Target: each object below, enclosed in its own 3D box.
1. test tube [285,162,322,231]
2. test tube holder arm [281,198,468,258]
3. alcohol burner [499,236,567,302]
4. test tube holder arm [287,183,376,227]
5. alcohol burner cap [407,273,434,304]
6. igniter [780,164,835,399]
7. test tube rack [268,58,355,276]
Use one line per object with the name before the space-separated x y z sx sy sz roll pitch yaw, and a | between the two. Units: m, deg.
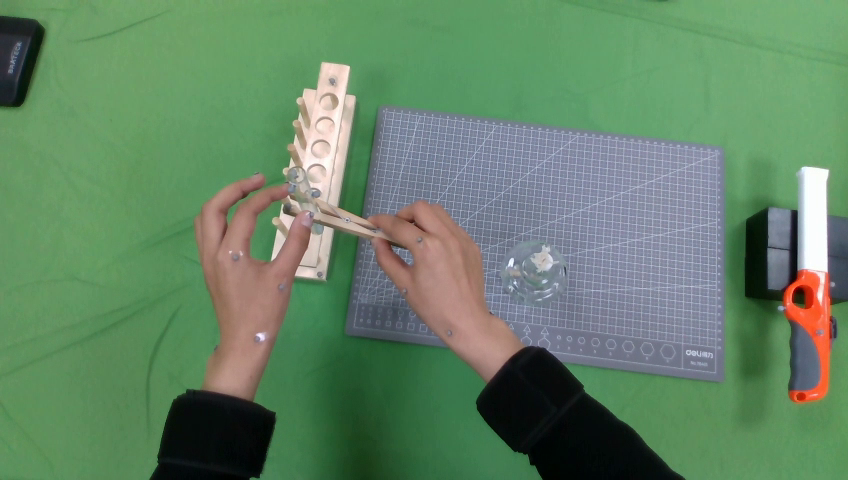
test tube | -0.108 -0.036 0.558 0.017 0.151 0.017 1 74 -3
test tube holder arm | -0.045 -0.010 0.566 0.178 0.015 0.013 16 71 -3
alcohol burner | 0.125 0.029 0.680 0.078 0.119 0.077 0 77 -1
test tube holder arm | -0.086 -0.030 0.566 0.088 0.015 0.010 25 70 0
alcohol burner cap | -0.004 0.054 0.706 0.034 0.048 0.033 1 75 -2
igniter | 0.437 0.044 0.690 0.057 0.025 0.275 9 75 6
test tube rack | -0.136 -0.086 0.715 0.067 0.085 0.241 8 76 0
